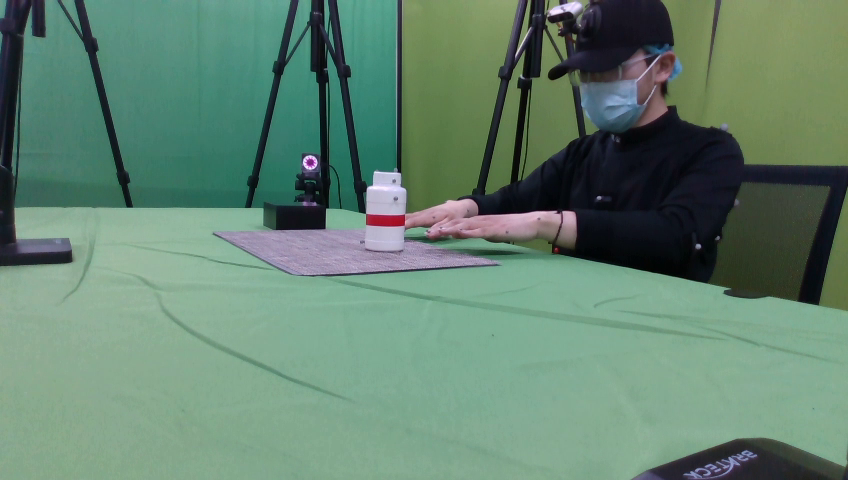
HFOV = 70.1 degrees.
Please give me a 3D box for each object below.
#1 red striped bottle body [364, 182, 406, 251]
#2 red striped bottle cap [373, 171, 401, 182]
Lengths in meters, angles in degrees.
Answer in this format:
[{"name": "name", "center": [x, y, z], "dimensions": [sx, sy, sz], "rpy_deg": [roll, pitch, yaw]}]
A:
[{"name": "red striped bottle body", "center": [-0.060, -0.046, 0.943], "dimensions": [0.063, 0.119, 0.063], "rpy_deg": [3, 7, 0]}, {"name": "red striped bottle cap", "center": [-0.058, -0.098, 0.936], "dimensions": [0.044, 0.017, 0.044], "rpy_deg": [1, 5, 0]}]
